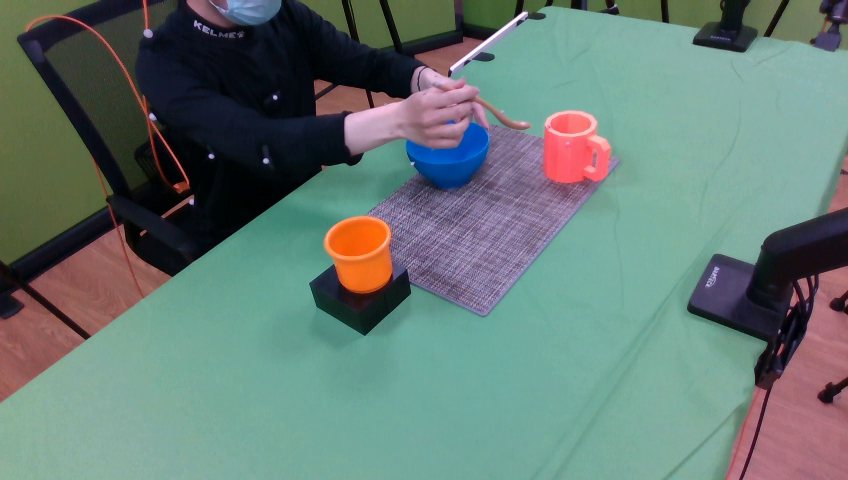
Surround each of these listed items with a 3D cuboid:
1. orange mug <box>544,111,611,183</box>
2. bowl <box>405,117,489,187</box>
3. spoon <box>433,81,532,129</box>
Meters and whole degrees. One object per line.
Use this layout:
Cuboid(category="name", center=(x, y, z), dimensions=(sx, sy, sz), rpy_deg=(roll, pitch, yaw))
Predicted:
Cuboid(category="orange mug", center=(0.266, -0.157, 1.049), dimensions=(0.084, 0.101, 0.125), rpy_deg=(-33, 42, -26))
Cuboid(category="bowl", center=(0.044, -0.148, 1.086), dimensions=(0.151, 0.077, 0.150), rpy_deg=(-4, 41, 4))
Cuboid(category="spoon", center=(0.091, -0.205, 0.920), dimensions=(0.195, 0.021, 0.041), rpy_deg=(19, 10, -35))
